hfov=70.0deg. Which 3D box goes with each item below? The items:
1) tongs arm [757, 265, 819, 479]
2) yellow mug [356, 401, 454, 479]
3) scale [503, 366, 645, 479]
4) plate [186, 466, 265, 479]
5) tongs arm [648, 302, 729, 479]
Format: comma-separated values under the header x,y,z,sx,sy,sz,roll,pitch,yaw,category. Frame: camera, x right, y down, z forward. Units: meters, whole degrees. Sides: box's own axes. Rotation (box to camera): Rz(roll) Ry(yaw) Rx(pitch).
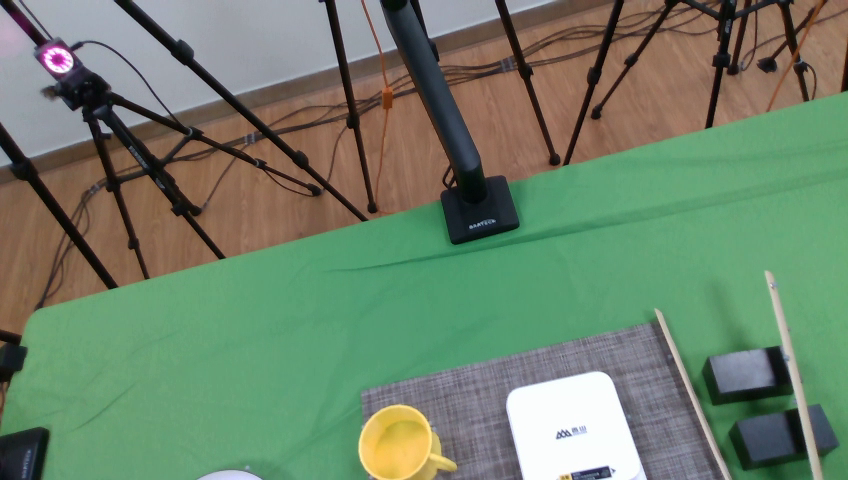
x,y,z,sx,sy,sz,roll,pitch,yaw,category
0.425,0.213,0.717,0.050,0.027,0.381,-21,58,34,tongs arm
-0.021,0.278,0.814,0.130,0.064,0.099,11,62,20,yellow mug
0.193,0.270,0.785,0.148,0.032,0.199,-15,56,5,scale
-0.278,0.414,0.815,0.207,0.039,0.205,-6,57,10,plate
0.364,0.244,0.761,0.028,0.028,0.383,-31,52,24,tongs arm
